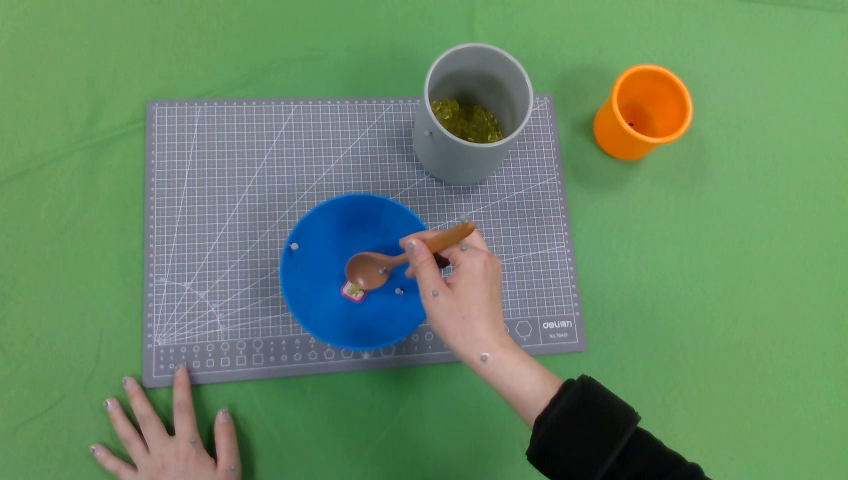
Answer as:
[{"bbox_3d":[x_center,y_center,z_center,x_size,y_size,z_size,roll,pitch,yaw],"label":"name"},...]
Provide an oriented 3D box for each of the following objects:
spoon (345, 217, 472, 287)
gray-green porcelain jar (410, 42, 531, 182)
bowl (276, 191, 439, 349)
[{"bbox_3d":[-0.019,0.013,0.537,0.021,0.193,0.042,-43,102,-33],"label":"spoon"},{"bbox_3d":[0.041,-0.123,0.621,0.106,0.127,0.105,2,77,-7],"label":"gray-green porcelain jar"},{"bbox_3d":[-0.065,0.034,0.597,0.152,0.077,0.150,2,77,-8],"label":"bowl"}]
